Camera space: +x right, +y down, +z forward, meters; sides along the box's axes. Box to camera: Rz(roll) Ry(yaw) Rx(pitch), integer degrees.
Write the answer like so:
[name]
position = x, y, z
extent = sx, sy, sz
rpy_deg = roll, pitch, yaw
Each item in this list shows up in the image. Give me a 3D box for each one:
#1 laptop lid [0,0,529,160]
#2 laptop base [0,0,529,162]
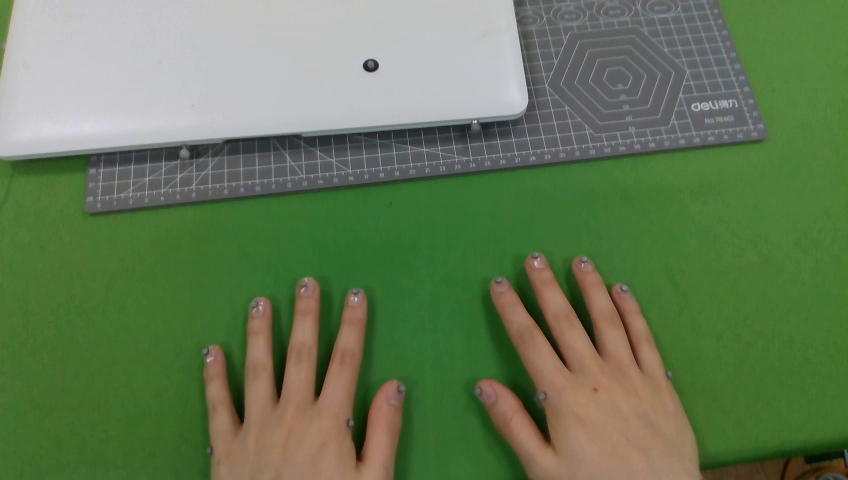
[laptop lid]
position = -0.115, -0.175, 0.428
extent = 0.357, 0.013, 0.240
rpy_deg = -3, 71, -1
[laptop base]
position = -0.115, -0.172, 0.440
extent = 0.354, 0.023, 0.234
rpy_deg = -5, 72, -1
